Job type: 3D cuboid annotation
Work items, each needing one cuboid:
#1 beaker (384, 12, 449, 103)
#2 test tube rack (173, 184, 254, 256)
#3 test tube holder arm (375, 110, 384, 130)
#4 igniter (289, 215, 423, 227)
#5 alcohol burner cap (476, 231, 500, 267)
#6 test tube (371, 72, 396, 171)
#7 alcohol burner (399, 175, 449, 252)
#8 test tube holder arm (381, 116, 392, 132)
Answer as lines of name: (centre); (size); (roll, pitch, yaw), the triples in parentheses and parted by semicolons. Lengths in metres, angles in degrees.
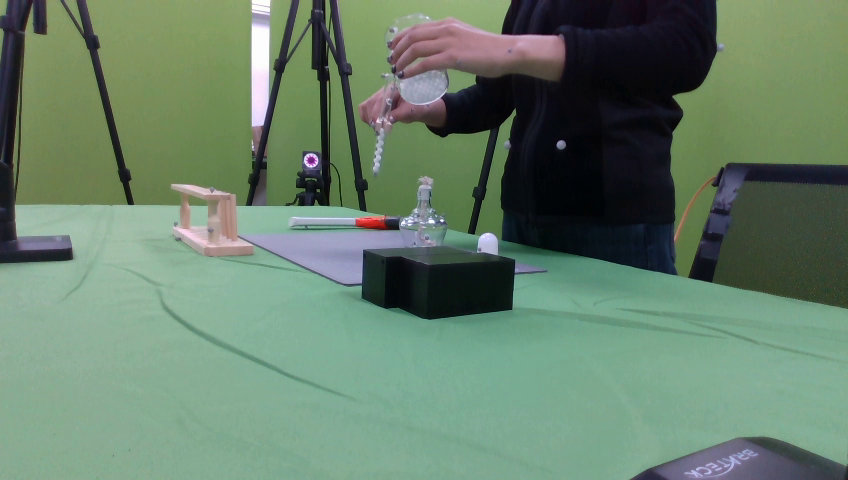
beaker: (-0.011, -0.245, 0.828); (0.074, 0.100, 0.083); (7, -32, -40)
test tube rack: (-0.328, -0.036, 0.927); (0.067, 0.085, 0.241); (-2, 9, -32)
test tube holder arm: (-0.071, -0.196, 0.979); (0.013, 0.015, 0.178); (13, 17, -8)
igniter: (-0.133, -0.038, 1.232); (0.278, 0.025, 0.057); (-1, -2, -25)
alcohol burner cap: (0.088, 0.012, 0.830); (0.034, 0.048, 0.034); (2, 6, 0)
test tube: (-0.062, -0.177, 0.914); (0.017, 0.150, 0.017); (11, 17, -3)
alcohol burner: (0.000, -0.041, 0.937); (0.078, 0.119, 0.078); (0, 8, 0)
test tube holder arm: (-0.061, -0.181, 0.937); (0.010, 0.015, 0.087); (10, 17, -15)
